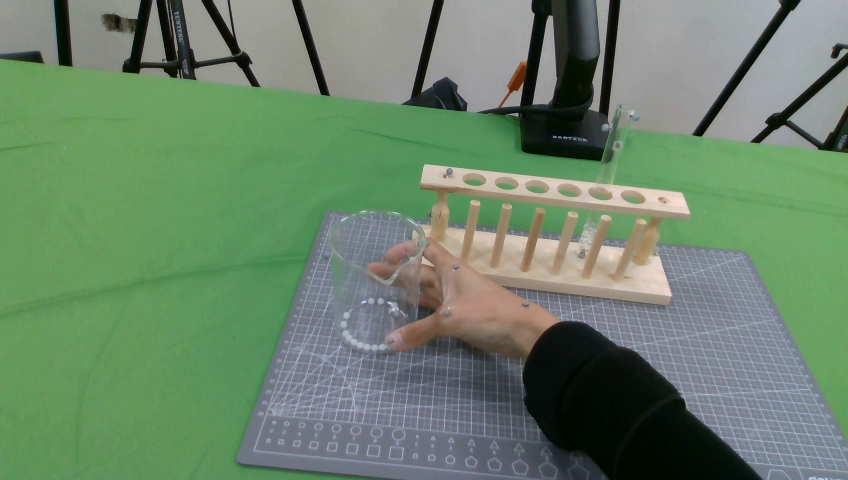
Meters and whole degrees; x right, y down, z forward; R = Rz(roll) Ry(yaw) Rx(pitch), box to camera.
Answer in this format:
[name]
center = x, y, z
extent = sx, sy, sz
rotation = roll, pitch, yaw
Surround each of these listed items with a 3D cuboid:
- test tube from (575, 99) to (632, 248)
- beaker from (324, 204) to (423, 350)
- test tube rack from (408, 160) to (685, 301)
[test tube]
center = 0.161, -0.055, 0.553
extent = 0.017, 0.151, 0.017
rotation = 4, 35, -3
[beaker]
center = -0.040, 0.034, 0.486
extent = 0.074, 0.101, 0.083
rotation = -6, 41, -13
[test tube rack]
center = 0.111, -0.009, 0.570
extent = 0.242, 0.086, 0.066
rotation = 7, 39, 1
